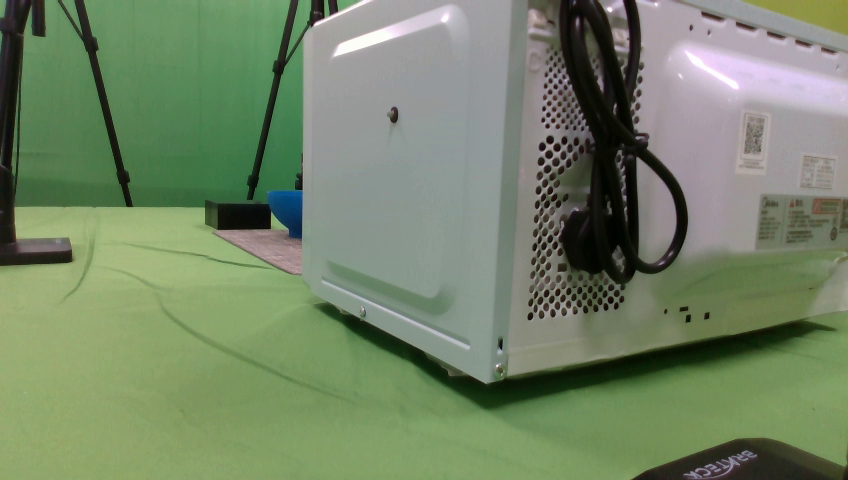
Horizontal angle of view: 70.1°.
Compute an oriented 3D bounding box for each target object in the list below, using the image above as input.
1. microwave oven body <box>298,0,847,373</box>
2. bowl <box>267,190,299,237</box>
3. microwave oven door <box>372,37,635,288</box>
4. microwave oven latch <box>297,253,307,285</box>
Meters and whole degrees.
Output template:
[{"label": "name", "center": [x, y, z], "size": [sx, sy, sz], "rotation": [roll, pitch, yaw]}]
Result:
[{"label": "microwave oven body", "center": [0.151, -0.055, 0.543], "size": [0.444, 0.260, 0.324], "rotation": [-1, 7, -33]}, {"label": "bowl", "center": [-0.202, -0.046, 1.069], "size": [0.151, 0.077, 0.151], "rotation": [3, 7, 0]}, {"label": "microwave oven door", "center": [0.109, -0.080, 0.686], "size": [0.358, 0.243, 0.039], "rotation": [-2, 8, -33]}, {"label": "microwave oven latch", "center": [-0.082, 0.027, 0.583], "size": [0.079, 0.029, 0.030], "rotation": [-1, 7, -32]}]
